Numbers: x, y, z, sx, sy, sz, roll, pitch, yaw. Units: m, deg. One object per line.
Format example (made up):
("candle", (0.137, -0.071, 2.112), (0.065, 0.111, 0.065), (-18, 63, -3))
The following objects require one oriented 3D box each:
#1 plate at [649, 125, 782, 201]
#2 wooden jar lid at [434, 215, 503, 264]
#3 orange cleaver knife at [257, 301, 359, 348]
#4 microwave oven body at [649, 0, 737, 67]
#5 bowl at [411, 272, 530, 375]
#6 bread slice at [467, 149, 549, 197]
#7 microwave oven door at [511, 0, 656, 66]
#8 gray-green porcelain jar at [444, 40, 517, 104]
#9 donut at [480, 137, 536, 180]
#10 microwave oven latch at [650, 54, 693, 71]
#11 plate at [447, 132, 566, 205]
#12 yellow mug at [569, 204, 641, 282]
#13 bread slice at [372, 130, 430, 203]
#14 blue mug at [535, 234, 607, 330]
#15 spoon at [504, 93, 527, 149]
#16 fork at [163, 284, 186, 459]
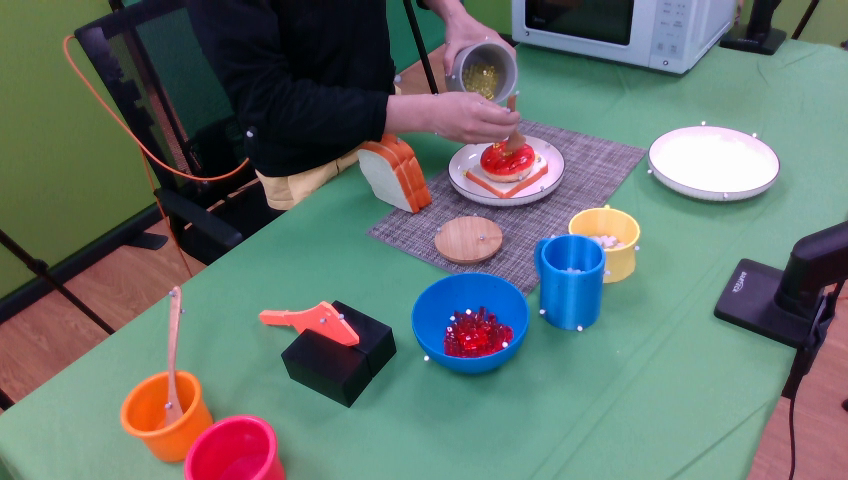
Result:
("plate", (0.493, -0.127, 1.036), (0.207, 0.039, 0.206), (-4, 41, 4))
("wooden jar lid", (0.070, 0.001, 0.956), (0.108, 0.021, 0.108), (-4, 40, 4))
("orange cleaver knife", (-0.160, 0.115, 0.813), (0.210, 0.077, 0.012), (-9, 29, 48))
("microwave oven body", (0.475, -0.602, 1.411), (0.438, 0.261, 0.327), (23, 50, 32))
("bowl", (0.061, 0.120, 0.780), (0.151, 0.077, 0.150), (-4, 40, 4))
("bread slice", (0.156, -0.128, 1.084), (0.132, 0.019, 0.104), (-34, 48, -23))
("microwave oven door", (0.351, -0.539, 1.349), (0.353, 0.245, 0.039), (24, 50, 31))
("gray-green porcelain jar", (0.097, -0.299, 1.087), (0.106, 0.106, 0.126), (-15, 15, -9))
("donut", (0.145, -0.144, 1.056), (0.099, 0.048, 0.098), (-6, 43, 6))
("microwave oven latch", (0.531, -0.386, 1.301), (0.078, 0.029, 0.030), (26, 51, 33))
("plate", (0.146, -0.124, 1.076), (0.209, 0.038, 0.208), (-4, 41, 4))
("yellow mug", (0.268, -0.005, 0.904), (0.099, 0.064, 0.130), (7, 41, 15))
("bread slice", (-0.042, -0.127, 1.038), (0.106, 0.135, 0.018), (30, 62, 33))
("blue mug", (0.190, 0.048, 0.824), (0.082, 0.106, 0.115), (-26, 44, -20))
("spoon", (0.138, -0.182, 0.940), (0.041, 0.195, 0.021), (-23, 71, 4))
("fork", (-0.302, 0.157, 0.733), (0.028, 0.019, 0.207), (-3, 84, 14))
